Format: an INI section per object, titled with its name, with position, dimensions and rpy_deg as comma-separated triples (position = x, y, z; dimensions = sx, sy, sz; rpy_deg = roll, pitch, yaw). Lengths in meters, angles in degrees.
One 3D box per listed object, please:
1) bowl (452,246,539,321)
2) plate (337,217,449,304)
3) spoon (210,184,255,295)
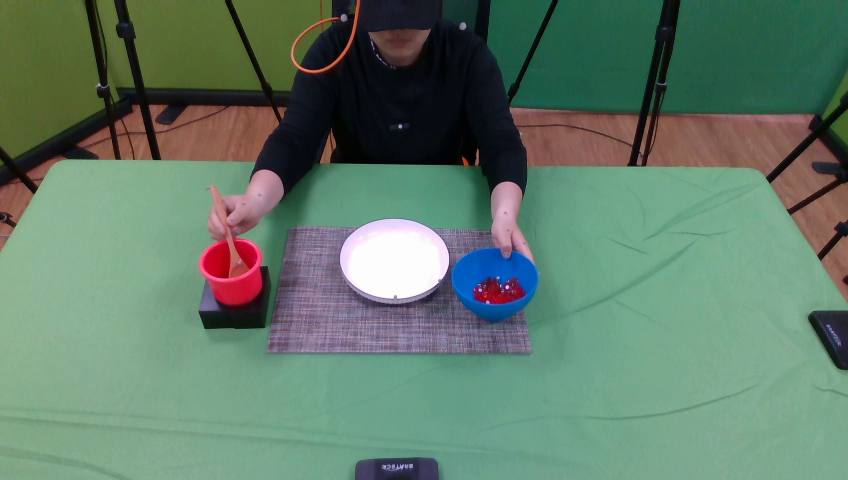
[bowl]
position = 0.124, 0.088, 1.060
dimensions = 0.151, 0.077, 0.150
rpy_deg = -3, 39, 3
[plate]
position = -0.058, 0.042, 1.137
dimensions = 0.208, 0.039, 0.206
rpy_deg = 2, 46, -2
[spoon]
position = -0.324, -0.002, 1.011
dimensions = 0.042, 0.021, 0.194
rpy_deg = -16, 94, -17
